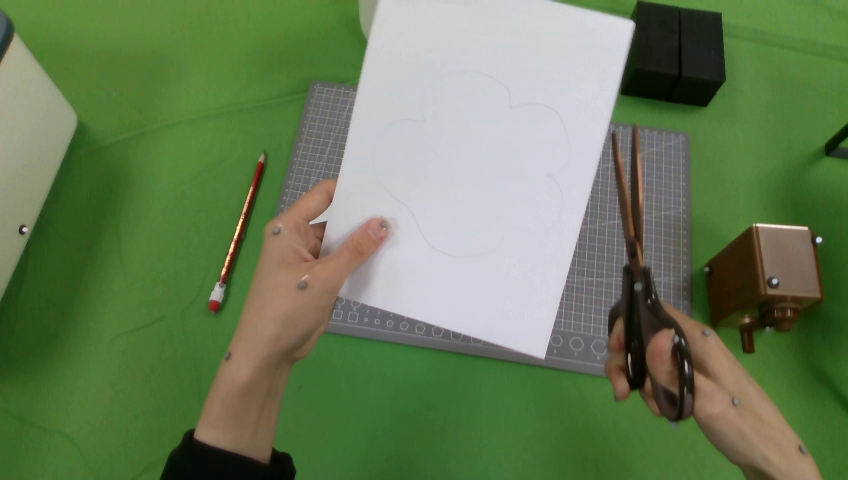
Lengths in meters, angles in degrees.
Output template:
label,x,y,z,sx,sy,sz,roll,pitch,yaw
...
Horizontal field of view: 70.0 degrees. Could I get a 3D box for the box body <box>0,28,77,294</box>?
label,x,y,z,sx,sy,sz,roll,pitch,yaw
box body,-0.532,-0.042,0.569,0.254,0.161,0.361,9,67,2

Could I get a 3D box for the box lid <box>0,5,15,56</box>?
label,x,y,z,sx,sy,sz,roll,pitch,yaw
box lid,-0.531,-0.074,0.500,0.263,0.015,0.369,9,67,2

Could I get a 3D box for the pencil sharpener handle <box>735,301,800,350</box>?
label,x,y,z,sx,sy,sz,roll,pitch,yaw
pencil sharpener handle,0.315,0.080,0.557,0.036,0.068,0.030,10,67,-12

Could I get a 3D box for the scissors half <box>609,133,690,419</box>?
label,x,y,z,sx,sy,sz,roll,pitch,yaw
scissors half,0.130,0.016,0.360,0.013,0.040,0.174,-6,73,-7

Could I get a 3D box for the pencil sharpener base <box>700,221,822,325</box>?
label,x,y,z,sx,sy,sz,roll,pitch,yaw
pencil sharpener base,0.322,0.039,0.588,0.061,0.108,0.076,4,67,1

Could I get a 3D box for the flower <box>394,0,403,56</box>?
label,x,y,z,sx,sy,sz,roll,pitch,yaw
flower,-0.033,-0.345,0.598,0.044,0.365,0.038,2,49,3

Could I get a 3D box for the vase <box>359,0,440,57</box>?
label,x,y,z,sx,sy,sz,roll,pitch,yaw
vase,-0.030,-0.299,0.669,0.098,0.201,0.097,0,66,0

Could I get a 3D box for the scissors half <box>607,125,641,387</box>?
label,x,y,z,sx,sy,sz,roll,pitch,yaw
scissors half,0.129,0.015,0.384,0.013,0.176,0.039,-6,23,-3

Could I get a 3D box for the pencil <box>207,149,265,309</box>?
label,x,y,z,sx,sy,sz,roll,pitch,yaw
pencil,-0.199,-0.018,0.651,0.012,0.012,0.192,10,66,3
